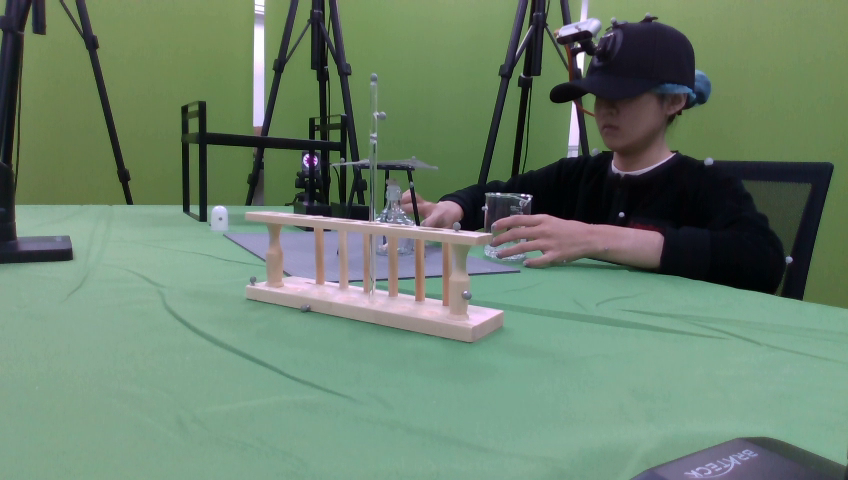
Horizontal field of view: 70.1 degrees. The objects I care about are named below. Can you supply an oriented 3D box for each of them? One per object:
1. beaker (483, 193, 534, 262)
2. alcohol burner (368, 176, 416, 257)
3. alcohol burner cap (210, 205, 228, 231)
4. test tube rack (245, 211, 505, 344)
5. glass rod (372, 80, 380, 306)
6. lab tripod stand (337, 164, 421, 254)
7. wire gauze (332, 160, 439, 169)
[{"bbox_3d":[0.129,-0.019,0.923,0.074,0.100,0.083,-2,9,-34],"label":"beaker"},{"bbox_3d":[-0.046,-0.035,0.895,0.078,0.119,0.078,4,5,0],"label":"alcohol burner"},{"bbox_3d":[-0.376,-0.040,1.107,0.034,0.048,0.034,2,7,0],"label":"alcohol burner cap"},{"bbox_3d":[-0.049,0.025,0.547,0.241,0.085,0.067,7,8,29],"label":"test tube rack"},{"bbox_3d":[-0.042,-0.039,0.530,0.008,0.199,0.008,0,2,0],"label":"glass rod"},{"bbox_3d":[-0.061,-0.045,0.894,0.148,0.131,0.148,1,6,0],"label":"lab tripod stand"},{"bbox_3d":[-0.054,-0.111,0.884,0.121,0.011,0.125,4,7,18],"label":"wire gauze"}]
